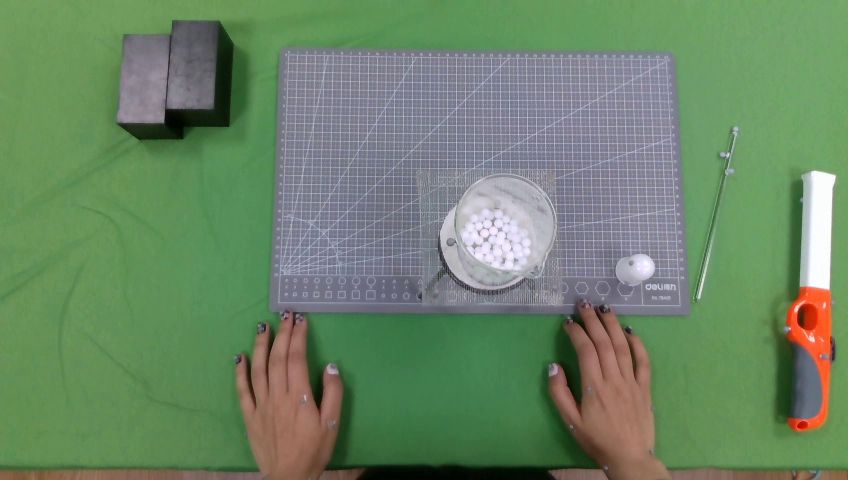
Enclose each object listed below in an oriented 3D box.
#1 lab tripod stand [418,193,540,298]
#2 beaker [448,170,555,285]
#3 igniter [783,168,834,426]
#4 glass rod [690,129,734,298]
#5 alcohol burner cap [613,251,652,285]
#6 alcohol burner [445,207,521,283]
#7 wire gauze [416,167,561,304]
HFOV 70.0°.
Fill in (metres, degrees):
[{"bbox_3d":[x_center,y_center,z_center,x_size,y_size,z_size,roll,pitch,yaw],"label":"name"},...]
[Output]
[{"bbox_3d":[0.055,0.009,0.592,0.148,0.132,0.148,0,80,1],"label":"lab tripod stand"},{"bbox_3d":[0.058,-0.002,0.479,0.074,0.100,0.083,-32,81,-6],"label":"beaker"},{"bbox_3d":[0.412,0.059,0.646,0.057,0.025,0.275,10,81,-10],"label":"igniter"},{"bbox_3d":[0.318,-0.032,0.669,0.008,0.008,0.199,17,81,2],"label":"glass rod"},{"bbox_3d":[0.222,0.028,0.638,0.034,0.048,0.033,0,78,0],"label":"alcohol burner cap"},{"bbox_3d":[0.060,0.001,0.604,0.078,0.119,0.077,0,79,-1],"label":"alcohol burner"},{"bbox_3d":[0.055,-0.004,0.528,0.125,0.011,0.121,-1,79,1],"label":"wire gauze"}]
